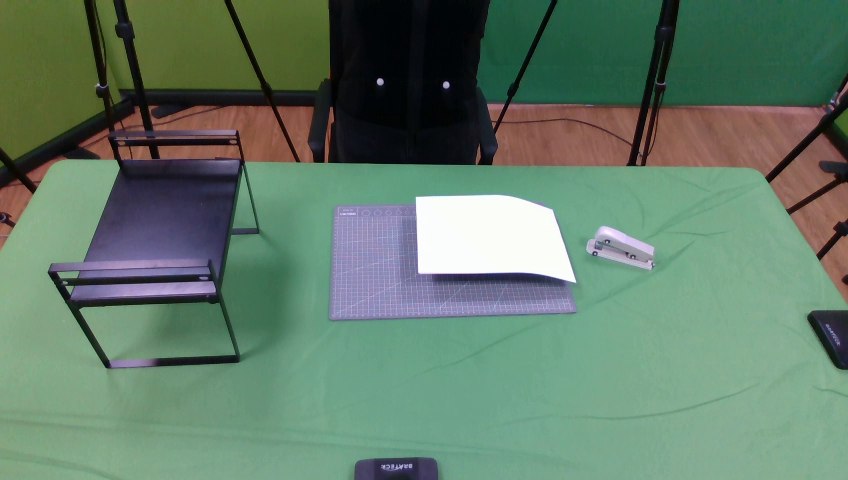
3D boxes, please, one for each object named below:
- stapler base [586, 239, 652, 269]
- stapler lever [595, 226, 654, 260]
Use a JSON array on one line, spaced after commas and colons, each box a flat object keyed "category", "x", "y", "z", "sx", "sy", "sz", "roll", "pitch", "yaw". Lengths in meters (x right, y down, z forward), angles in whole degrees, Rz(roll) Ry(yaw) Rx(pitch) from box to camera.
[{"category": "stapler base", "x": 0.392, "y": 0.021, "z": 1.205, "sx": 0.130, "sy": 0.024, "sz": 0.041, "roll": 16, "pitch": 49, "yaw": 10}, {"category": "stapler lever", "x": 0.395, "y": 0.005, "z": 1.188, "sx": 0.118, "sy": 0.040, "sz": 0.026, "roll": 16, "pitch": 49, "yaw": 10}]
